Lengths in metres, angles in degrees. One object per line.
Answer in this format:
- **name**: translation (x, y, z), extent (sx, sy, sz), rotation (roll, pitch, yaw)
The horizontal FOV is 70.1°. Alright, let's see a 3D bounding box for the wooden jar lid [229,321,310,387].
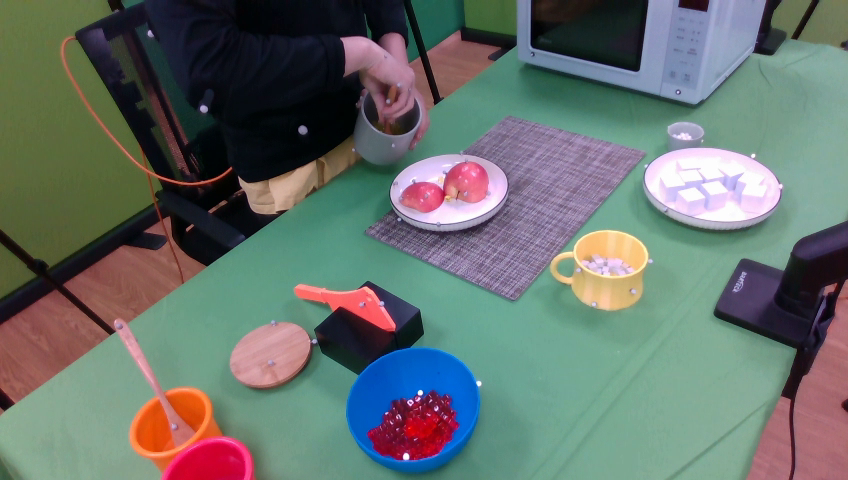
- **wooden jar lid**: translation (-0.207, 0.156, 0.820), extent (0.108, 0.021, 0.108), rotation (-3, 39, 3)

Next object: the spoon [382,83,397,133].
- **spoon**: translation (-0.061, -0.200, 1.006), extent (0.042, 0.194, 0.021), rotation (-13, 67, -13)

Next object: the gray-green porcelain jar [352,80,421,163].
- **gray-green porcelain jar**: translation (-0.071, -0.203, 1.070), extent (0.106, 0.126, 0.105), rotation (5, 71, -14)

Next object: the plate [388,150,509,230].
- **plate**: translation (0.044, -0.083, 1.043), extent (0.209, 0.038, 0.208), rotation (-4, 40, 4)

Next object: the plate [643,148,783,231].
- **plate**: translation (0.464, -0.080, 0.986), extent (0.207, 0.039, 0.206), rotation (-4, 40, 4)

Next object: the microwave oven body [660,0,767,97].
- **microwave oven body**: translation (0.473, -0.516, 1.313), extent (0.438, 0.261, 0.327), rotation (26, 51, 34)

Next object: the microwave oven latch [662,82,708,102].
- **microwave oven latch**: translation (0.518, -0.299, 1.203), extent (0.078, 0.029, 0.030), rotation (29, 53, 36)

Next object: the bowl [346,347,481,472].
- **bowl**: translation (-0.008, 0.205, 0.691), extent (0.151, 0.077, 0.150), rotation (-4, 40, 4)

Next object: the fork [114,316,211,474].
- **fork**: translation (-0.309, 0.179, 0.708), extent (0.028, 0.018, 0.207), rotation (-30, 89, -24)

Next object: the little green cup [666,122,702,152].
- **little green cup**: translation (0.471, -0.184, 1.102), extent (0.061, 0.039, 0.061), rotation (-5, 41, 5)

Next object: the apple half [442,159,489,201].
- **apple half**: translation (0.074, -0.110, 1.047), extent (0.080, 0.053, 0.075), rotation (21, 46, 30)

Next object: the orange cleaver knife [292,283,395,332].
- **orange cleaver knife**: translation (-0.115, 0.092, 0.835), extent (0.209, 0.077, 0.012), rotation (1, 32, 48)

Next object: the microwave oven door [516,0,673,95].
- **microwave oven door**: translation (0.344, -0.458, 1.256), extent (0.353, 0.245, 0.039), rotation (26, 51, 33)

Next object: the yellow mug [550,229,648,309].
- **yellow mug**: translation (0.245, 0.040, 0.857), extent (0.130, 0.064, 0.099), rotation (1, 42, 11)

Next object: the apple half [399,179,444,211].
- **apple half**: translation (-0.004, -0.088, 1.045), extent (0.081, 0.033, 0.081), rotation (-2, 43, 2)
